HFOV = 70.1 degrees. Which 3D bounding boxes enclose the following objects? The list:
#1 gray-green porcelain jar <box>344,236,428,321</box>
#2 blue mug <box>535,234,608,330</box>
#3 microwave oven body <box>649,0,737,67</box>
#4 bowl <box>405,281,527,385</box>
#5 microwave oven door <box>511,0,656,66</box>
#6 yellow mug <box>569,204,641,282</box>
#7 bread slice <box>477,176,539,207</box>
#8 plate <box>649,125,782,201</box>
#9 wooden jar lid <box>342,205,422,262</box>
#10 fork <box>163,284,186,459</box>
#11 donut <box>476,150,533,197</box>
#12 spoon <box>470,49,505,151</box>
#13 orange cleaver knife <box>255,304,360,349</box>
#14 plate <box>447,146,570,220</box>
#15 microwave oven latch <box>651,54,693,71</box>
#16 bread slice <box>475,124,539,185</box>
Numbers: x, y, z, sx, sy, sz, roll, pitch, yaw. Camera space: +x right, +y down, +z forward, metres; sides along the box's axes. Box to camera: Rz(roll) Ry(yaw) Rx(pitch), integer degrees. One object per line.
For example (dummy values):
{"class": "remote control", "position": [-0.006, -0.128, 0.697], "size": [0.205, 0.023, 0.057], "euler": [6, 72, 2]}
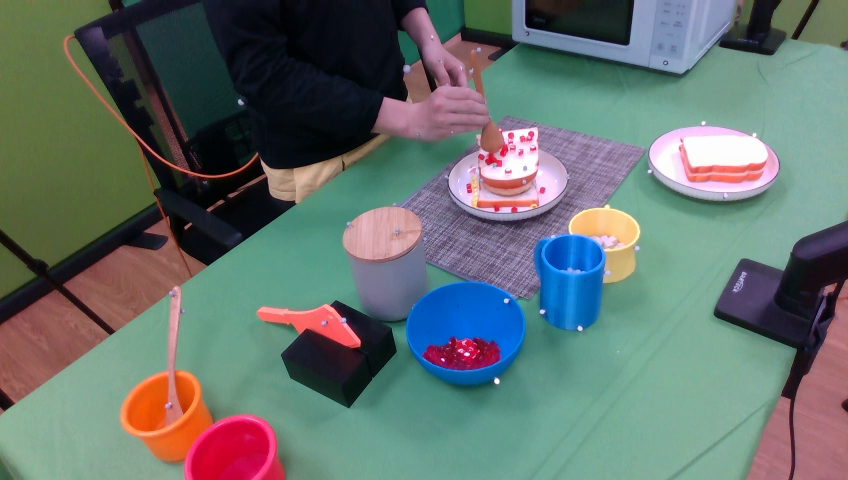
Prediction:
{"class": "gray-green porcelain jar", "position": [-0.049, 0.042, 0.849], "size": [0.106, 0.127, 0.105], "euler": [-4, 41, 4]}
{"class": "blue mug", "position": [0.191, 0.048, 0.824], "size": [0.082, 0.106, 0.115], "euler": [-26, 44, -21]}
{"class": "microwave oven body", "position": [0.475, -0.602, 1.411], "size": [0.438, 0.261, 0.327], "euler": [23, 50, 32]}
{"class": "bowl", "position": [0.055, 0.131, 0.767], "size": [0.151, 0.077, 0.150], "euler": [-4, 40, 4]}
{"class": "microwave oven door", "position": [0.351, -0.539, 1.349], "size": [0.353, 0.245, 0.039], "euler": [24, 50, 31]}
{"class": "yellow mug", "position": [0.268, -0.005, 0.904], "size": [0.099, 0.064, 0.130], "euler": [7, 41, 15]}
{"class": "bread slice", "position": [0.144, -0.103, 1.059], "size": [0.105, 0.019, 0.131], "euler": [-1, 44, 5]}
{"class": "plate", "position": [0.493, -0.128, 1.036], "size": [0.207, 0.039, 0.206], "euler": [-4, 41, 4]}
{"class": "wooden jar lid", "position": [-0.055, -0.006, 0.808], "size": [0.108, 0.021, 0.108], "euler": [-6, 40, 6]}
{"class": "fork", "position": [-0.302, 0.157, 0.733], "size": [0.028, 0.019, 0.207], "euler": [-3, 84, 15]}
{"class": "donut", "position": [0.138, -0.116, 1.025], "size": [0.099, 0.048, 0.098], "euler": [-8, 55, 12]}
{"class": "spoon", "position": [0.093, -0.212, 0.942], "size": [0.041, 0.195, 0.021], "euler": [-14, 43, 8]}
{"class": "orange cleaver knife", "position": [-0.161, 0.115, 0.813], "size": [0.210, 0.077, 0.012], "euler": [-4, 32, 47]}
{"class": "plate", "position": [0.145, -0.098, 1.046], "size": [0.209, 0.038, 0.208], "euler": [-4, 41, 4]}
{"class": "microwave oven latch", "position": [0.532, -0.386, 1.301], "size": [0.078, 0.029, 0.030], "euler": [26, 52, 34]}
{"class": "bread slice", "position": [0.143, -0.143, 1.009], "size": [0.107, 0.018, 0.133], "euler": [-8, 47, 8]}
